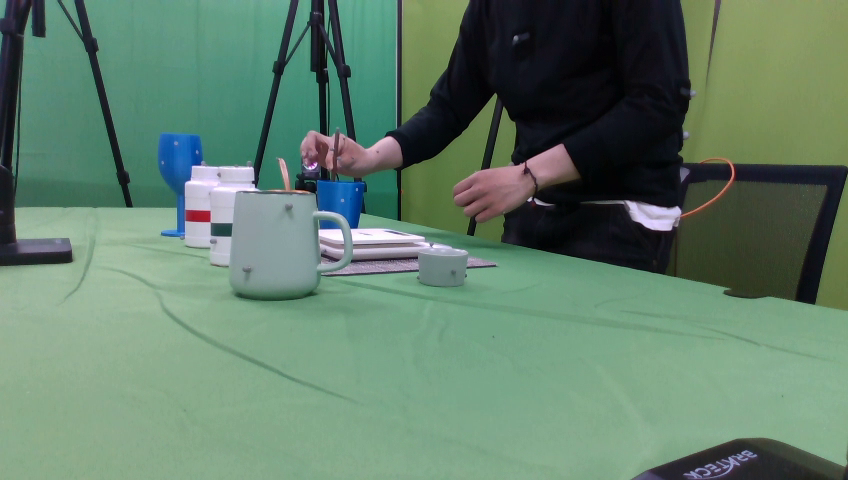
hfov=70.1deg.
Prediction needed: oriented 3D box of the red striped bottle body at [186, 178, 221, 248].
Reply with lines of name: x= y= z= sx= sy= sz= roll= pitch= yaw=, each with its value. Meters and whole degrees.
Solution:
red striped bottle body: x=-0.331 y=-0.050 z=0.927 sx=0.063 sy=0.119 sz=0.063 roll=2 pitch=6 yaw=0

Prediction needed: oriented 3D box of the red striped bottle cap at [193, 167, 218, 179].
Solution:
red striped bottle cap: x=-0.329 y=-0.102 z=0.921 sx=0.044 sy=0.017 sz=0.044 roll=1 pitch=8 yaw=0

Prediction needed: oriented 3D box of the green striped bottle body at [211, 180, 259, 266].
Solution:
green striped bottle body: x=-0.243 y=-0.029 z=0.784 sx=0.063 sy=0.119 sz=0.063 roll=2 pitch=7 yaw=0

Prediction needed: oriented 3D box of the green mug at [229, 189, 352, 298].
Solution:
green mug: x=-0.135 y=0.002 z=0.618 sx=0.125 sy=0.105 sz=0.092 roll=2 pitch=7 yaw=4

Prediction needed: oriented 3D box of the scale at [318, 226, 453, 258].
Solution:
scale: x=-0.066 y=0.001 z=0.906 sx=0.202 sy=0.031 sz=0.148 roll=-2 pitch=8 yaw=-31

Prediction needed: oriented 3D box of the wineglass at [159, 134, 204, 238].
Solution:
wineglass: x=-0.415 y=-0.093 z=1.040 sx=0.074 sy=0.172 sz=0.073 roll=2 pitch=7 yaw=0

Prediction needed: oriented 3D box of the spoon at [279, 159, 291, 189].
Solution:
spoon: x=-0.281 y=-0.102 z=1.251 sx=0.042 sy=0.193 sz=0.021 roll=5 pitch=-39 yaw=-29

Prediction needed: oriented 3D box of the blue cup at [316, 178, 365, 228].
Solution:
blue cup: x=-0.149 y=-0.056 z=1.072 sx=0.093 sy=0.100 sz=0.092 roll=3 pitch=8 yaw=0

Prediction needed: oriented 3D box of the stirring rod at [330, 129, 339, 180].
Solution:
stirring rod: x=-0.161 y=-0.107 z=1.066 sx=0.006 sy=0.176 sz=0.014 roll=2 pitch=7 yaw=-33

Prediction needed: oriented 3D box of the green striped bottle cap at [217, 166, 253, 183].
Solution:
green striped bottle cap: x=-0.242 y=-0.085 z=0.777 sx=0.044 sy=0.020 sz=0.044 roll=2 pitch=9 yaw=0

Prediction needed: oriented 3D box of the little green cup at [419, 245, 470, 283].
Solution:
little green cup: x=0.023 y=0.028 z=0.712 sx=0.061 sy=0.038 sz=0.061 roll=2 pitch=6 yaw=0
